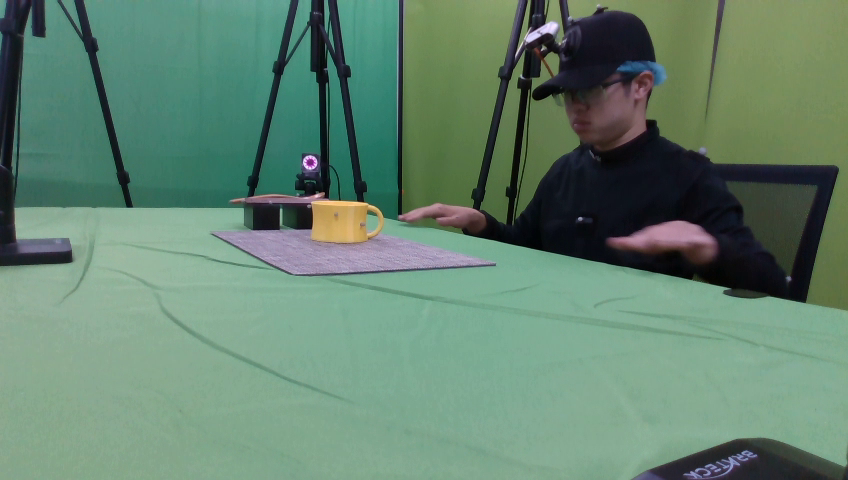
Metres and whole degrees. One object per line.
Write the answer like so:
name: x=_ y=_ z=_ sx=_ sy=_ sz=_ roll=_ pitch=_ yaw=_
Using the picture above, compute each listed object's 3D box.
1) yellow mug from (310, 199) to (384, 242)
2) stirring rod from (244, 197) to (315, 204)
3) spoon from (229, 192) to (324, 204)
yellow mug: x=-0.132 y=-0.035 z=1.054 sx=0.131 sy=0.064 sz=0.099 roll=0 pitch=8 yaw=-23
stirring rod: x=-0.269 y=-0.077 z=1.200 sx=0.177 sy=0.006 sz=0.014 roll=-1 pitch=41 yaw=-35
spoon: x=-0.297 y=-0.086 z=1.230 sx=0.195 sy=0.021 sz=0.041 roll=-3 pitch=12 yaw=-26
